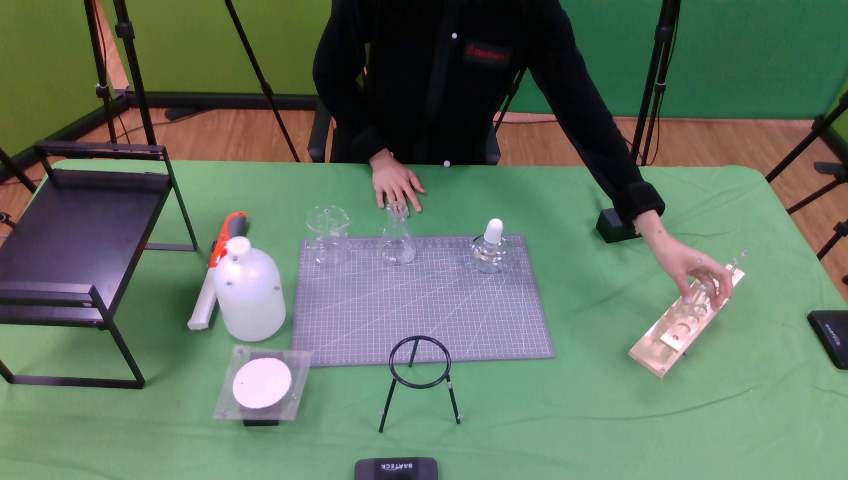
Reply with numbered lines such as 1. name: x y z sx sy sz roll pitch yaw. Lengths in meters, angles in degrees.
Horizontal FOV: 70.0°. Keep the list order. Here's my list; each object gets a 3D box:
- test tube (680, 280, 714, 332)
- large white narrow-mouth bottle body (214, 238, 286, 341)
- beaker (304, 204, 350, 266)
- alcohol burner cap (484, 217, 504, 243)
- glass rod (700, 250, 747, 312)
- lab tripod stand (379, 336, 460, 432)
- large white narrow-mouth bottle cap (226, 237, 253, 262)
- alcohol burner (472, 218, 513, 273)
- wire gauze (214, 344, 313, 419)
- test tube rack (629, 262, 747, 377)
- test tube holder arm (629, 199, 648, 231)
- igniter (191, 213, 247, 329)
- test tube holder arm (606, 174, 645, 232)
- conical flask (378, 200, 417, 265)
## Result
1. test tube: 0.444 0.120 0.996 0.017 0.151 0.017 1 44 0
2. large white narrow-mouth bottle body: -0.285 0.073 0.986 0.102 0.195 0.101 2 46 -2
3. beaker: -0.178 -0.006 1.132 0.084 0.101 0.073 4 46 -1
4. alcohol burner cap: 0.130 -0.021 1.107 0.034 0.048 0.033 5 46 -5
5. glass rod: 0.501 0.075 1.021 0.008 0.201 0.008 0 54 1
6. lab tripod stand: -0.010 0.214 0.911 0.148 0.132 0.147 1 45 0
7. large white narrow-mouth bottle cap: -0.281 0.015 0.923 0.038 0.024 0.037 2 46 -2
8. alcohol burner: 0.128 0.005 1.132 0.078 0.120 0.077 0 47 0
9. wire gauze: -0.241 0.213 0.915 0.121 0.011 0.124 5 46 1
10. test tube rack: 0.464 0.126 1.060 0.242 0.085 0.066 -34 56 -30
11. test tube holder arm: 0.423 -0.050 1.206 0.010 0.015 0.087 2 41 -13
12. igniter: -0.376 0.047 1.121 0.057 0.025 0.275 -4 46 6
13. test tube holder arm: 0.410 -0.080 1.238 0.013 0.015 0.177 1 41 -14
14. conical flask: -0.050 -0.018 1.136 0.075 0.122 0.075 2 46 -2
